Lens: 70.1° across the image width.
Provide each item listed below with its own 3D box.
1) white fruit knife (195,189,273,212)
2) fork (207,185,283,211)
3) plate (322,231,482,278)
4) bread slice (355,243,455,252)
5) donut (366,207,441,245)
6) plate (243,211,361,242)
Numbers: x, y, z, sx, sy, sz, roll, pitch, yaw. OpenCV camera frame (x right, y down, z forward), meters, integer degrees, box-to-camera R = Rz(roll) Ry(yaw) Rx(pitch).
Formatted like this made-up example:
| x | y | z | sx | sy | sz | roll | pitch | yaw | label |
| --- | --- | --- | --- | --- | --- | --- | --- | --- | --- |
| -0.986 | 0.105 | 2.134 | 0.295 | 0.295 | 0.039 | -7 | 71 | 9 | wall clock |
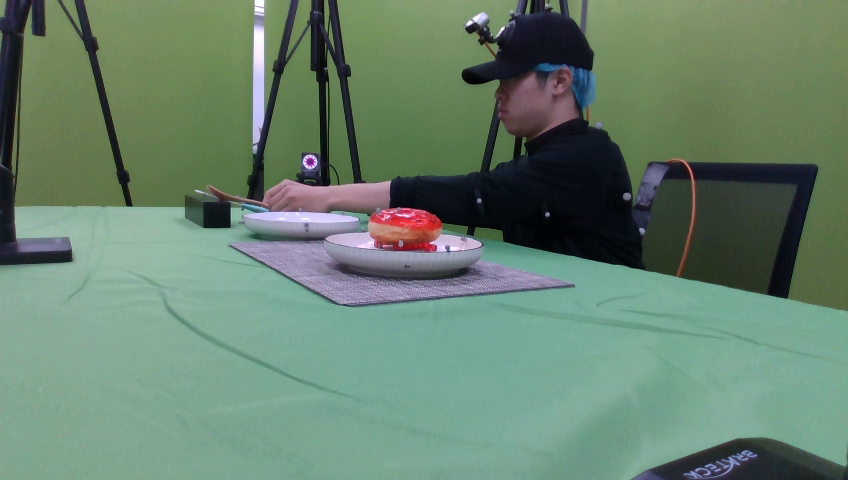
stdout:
| x | y | z | sx | sy | sz | roll | pitch | yaw | label |
| --- | --- | --- | --- | --- | --- | --- | --- | --- | --- |
| -0.377 | -0.073 | 1.270 | 0.208 | 0.016 | 0.027 | 18 | -3 | -32 | white fruit knife |
| -0.346 | -0.073 | 1.253 | 0.208 | 0.018 | 0.028 | 18 | -18 | -23 | fork |
| -0.028 | 0.018 | 0.789 | 0.209 | 0.038 | 0.209 | 3 | 7 | 0 | plate |
| -0.027 | 0.020 | 0.794 | 0.131 | 0.019 | 0.105 | 6 | 7 | 17 | bread slice |
| -0.027 | -0.017 | 0.785 | 0.099 | 0.048 | 0.099 | 3 | 7 | 0 | donut |
| -0.219 | -0.025 | 1.091 | 0.208 | 0.039 | 0.207 | 3 | 7 | 0 | plate |
